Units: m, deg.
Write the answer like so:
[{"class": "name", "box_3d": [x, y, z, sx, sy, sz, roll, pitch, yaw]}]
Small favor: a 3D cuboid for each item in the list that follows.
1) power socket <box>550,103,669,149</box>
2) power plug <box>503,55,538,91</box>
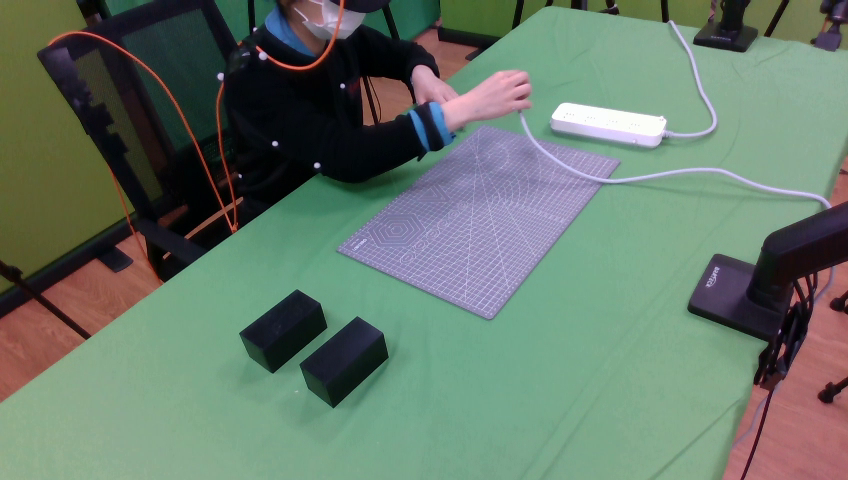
[{"class": "power socket", "box_3d": [0.353, -0.223, 1.169, 0.225, 0.033, 0.072, 17, 47, 25]}, {"class": "power plug", "box_3d": [0.176, -0.305, 1.109, 0.052, 0.073, 0.035, 9, 70, 45]}]
